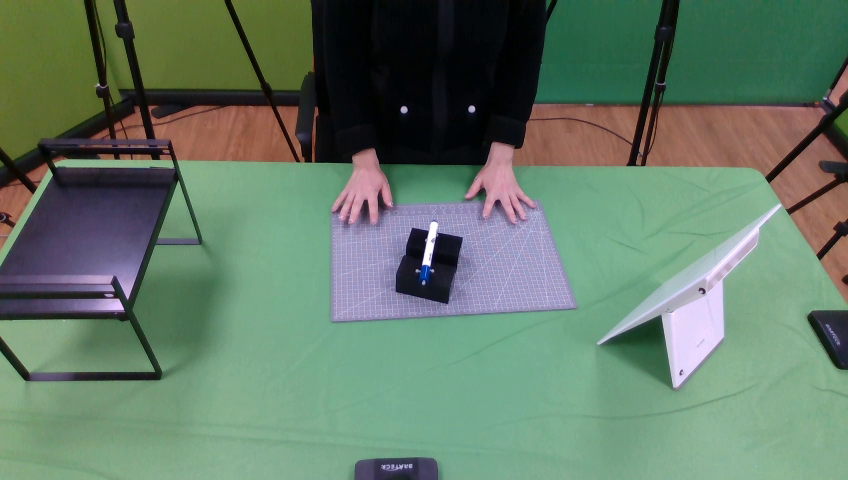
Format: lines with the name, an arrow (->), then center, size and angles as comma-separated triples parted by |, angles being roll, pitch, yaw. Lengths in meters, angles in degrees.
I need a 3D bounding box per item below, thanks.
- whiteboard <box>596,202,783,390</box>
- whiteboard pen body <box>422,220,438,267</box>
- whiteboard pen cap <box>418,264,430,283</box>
whiteboard -> 0.459, 0.112, 0.968 | 0.217, 0.306, 0.143 | -31, 74, -29
whiteboard pen body -> 0.010, 0.017, 1.107 | 0.017, 0.017, 0.140 | 8, 49, 4
whiteboard pen cap -> 0.001, 0.059, 1.069 | 0.018, 0.018, 0.033 | 8, 48, 4
